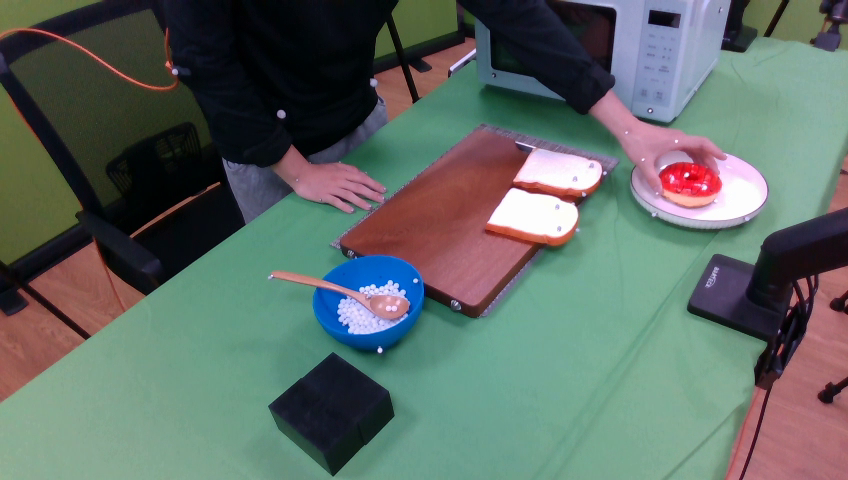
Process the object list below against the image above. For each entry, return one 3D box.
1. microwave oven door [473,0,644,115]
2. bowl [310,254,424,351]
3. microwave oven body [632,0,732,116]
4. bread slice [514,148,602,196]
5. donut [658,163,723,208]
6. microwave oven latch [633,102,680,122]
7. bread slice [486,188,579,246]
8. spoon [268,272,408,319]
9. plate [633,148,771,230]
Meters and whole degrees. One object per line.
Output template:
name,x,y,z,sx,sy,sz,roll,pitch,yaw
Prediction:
microwave oven door,0.257,-0.396,1.199,0.353,0.245,0.039,21,48,29
bowl,-0.071,0.098,0.821,0.151,0.077,0.150,-4,41,4
microwave oven body,0.377,-0.463,1.267,0.438,0.261,0.327,21,49,30
bread slice,0.233,-0.114,1.027,0.133,0.018,0.107,13,45,21
donut,0.431,-0.090,0.981,0.099,0.048,0.098,-3,38,3
microwave oven latch,0.444,-0.250,1.158,0.078,0.029,0.030,22,49,31
bread slice,0.176,-0.037,0.946,0.131,0.019,0.105,16,47,24
spoon,-0.116,0.069,0.813,0.194,0.021,0.041,18,39,1
plate,0.447,-0.081,0.988,0.207,0.039,0.206,-4,40,4
